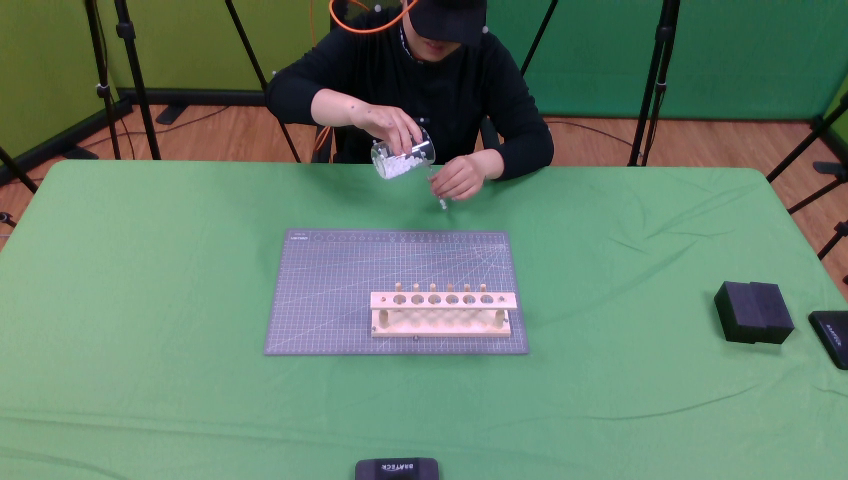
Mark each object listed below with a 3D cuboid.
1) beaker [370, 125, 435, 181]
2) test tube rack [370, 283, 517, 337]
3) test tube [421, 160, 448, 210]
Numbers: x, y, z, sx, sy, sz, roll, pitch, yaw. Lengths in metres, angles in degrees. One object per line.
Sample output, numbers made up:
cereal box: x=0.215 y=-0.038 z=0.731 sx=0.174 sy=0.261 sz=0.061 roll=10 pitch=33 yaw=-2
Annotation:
beaker: x=-0.041 y=-0.155 z=1.106 sx=0.100 sy=0.084 sz=0.073 roll=-25 pitch=49 yaw=-17
test tube rack: x=0.030 y=0.116 z=1.041 sx=0.242 sy=0.085 sz=0.066 roll=1 pitch=46 yaw=-4
test tube: x=0.023 y=-0.106 z=1.205 sx=0.017 sy=0.151 sz=0.017 roll=-9 pitch=54 yaw=14
